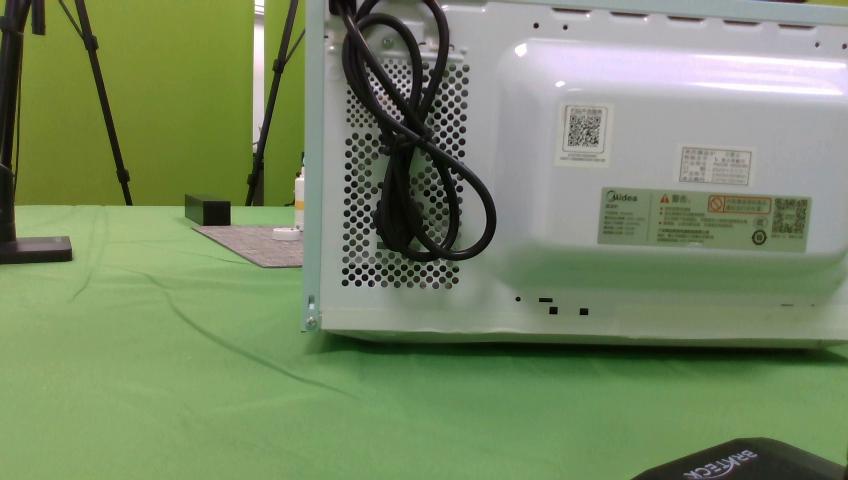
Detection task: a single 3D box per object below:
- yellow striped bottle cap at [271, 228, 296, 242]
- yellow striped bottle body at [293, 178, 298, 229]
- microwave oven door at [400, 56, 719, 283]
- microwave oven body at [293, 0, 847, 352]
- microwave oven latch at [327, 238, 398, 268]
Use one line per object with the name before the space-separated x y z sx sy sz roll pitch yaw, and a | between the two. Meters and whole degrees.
yellow striped bottle cap | -0.232 -0.008 1.011 0.044 0.018 0.044 4 7 0
yellow striped bottle body | -0.214 -0.078 1.141 0.063 0.120 0.063 2 7 0
microwave oven door | 0.155 -0.077 0.698 0.356 0.243 0.039 2 8 -5
microwave oven body | 0.122 -0.055 0.550 0.442 0.260 0.325 3 7 -5
microwave oven latch | -0.069 0.015 0.694 0.079 0.029 0.030 3 7 -3
